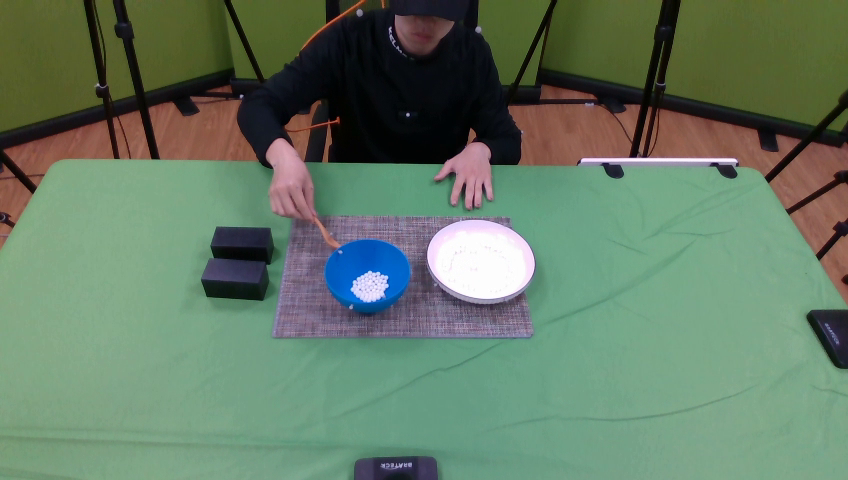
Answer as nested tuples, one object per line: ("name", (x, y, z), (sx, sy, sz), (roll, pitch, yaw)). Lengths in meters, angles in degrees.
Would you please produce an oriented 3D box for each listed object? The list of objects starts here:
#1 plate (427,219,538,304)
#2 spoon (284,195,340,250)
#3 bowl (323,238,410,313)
("plate", (0.109, 0.044, 1.149), (0.208, 0.039, 0.206), (2, 46, -2))
("spoon", (-0.211, -0.033, 1.170), (0.192, 0.021, 0.042), (45, 16, 25))
("bowl", (-0.101, 0.077, 1.073), (0.151, 0.077, 0.150), (2, 46, -2))
